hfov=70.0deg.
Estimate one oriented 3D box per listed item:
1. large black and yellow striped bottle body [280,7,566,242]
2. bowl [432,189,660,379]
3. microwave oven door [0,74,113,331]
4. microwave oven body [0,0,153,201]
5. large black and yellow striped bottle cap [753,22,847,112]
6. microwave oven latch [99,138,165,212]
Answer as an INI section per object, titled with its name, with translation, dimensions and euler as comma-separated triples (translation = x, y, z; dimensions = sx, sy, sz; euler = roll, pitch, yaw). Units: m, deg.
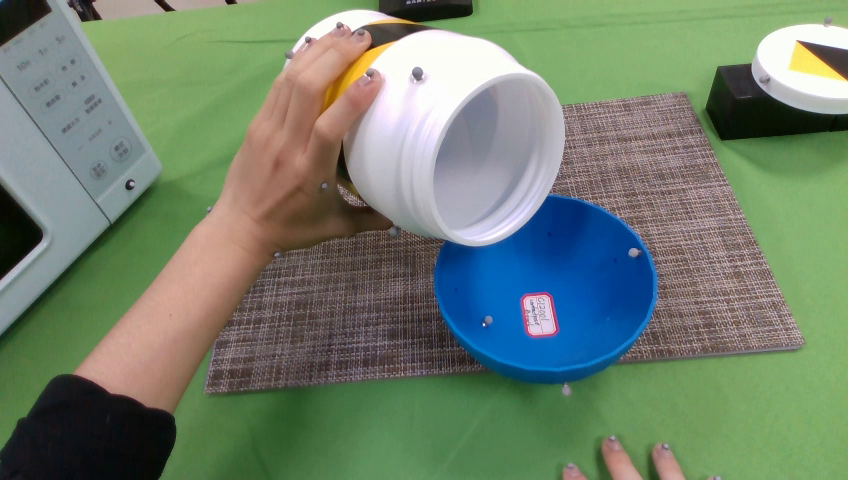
[large black and yellow striped bottle body]
translation = -0.005, -0.083, 0.421
dimensions = 0.131, 0.132, 0.182
euler = -35, 41, -19
[bowl]
translation = 0.084, 0.043, 0.441
dimensions = 0.151, 0.077, 0.150
euler = -4, 50, 5
[microwave oven door]
translation = -0.397, 0.028, 0.391
dimensions = 0.039, 0.246, 0.354
euler = 17, 55, 21
[microwave oven body]
translation = -0.508, -0.040, 0.468
dimensions = 0.324, 0.263, 0.439
euler = 18, 56, 20
[large black and yellow striped bottle cap]
translation = 0.363, -0.159, 0.549
dimensions = 0.115, 0.019, 0.114
euler = -4, 50, 6
[microwave oven latch]
translation = -0.287, -0.066, 0.586
dimensions = 0.030, 0.030, 0.079
euler = 19, 57, 21
